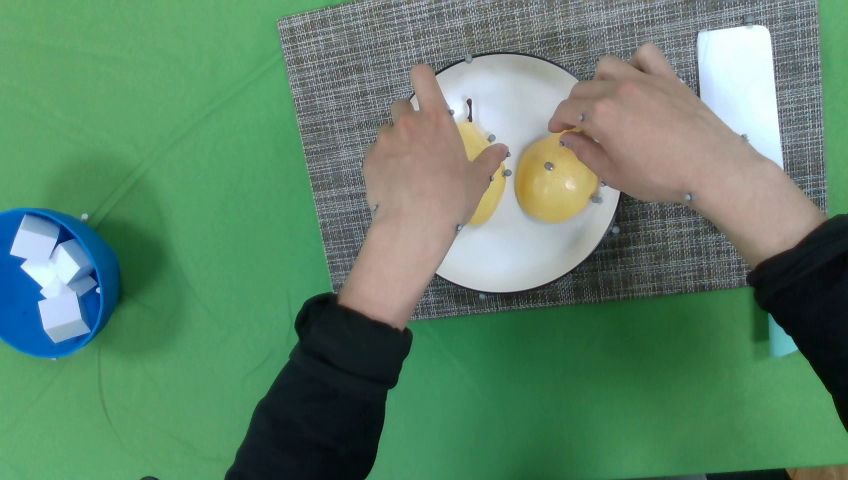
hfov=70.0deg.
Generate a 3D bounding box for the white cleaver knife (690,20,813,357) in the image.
[{"bbox_3d":[0.276,-0.039,0.512,0.065,0.021,0.287,-11,96,18],"label":"white cleaver knife"}]

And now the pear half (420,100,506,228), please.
[{"bbox_3d":[0.033,-0.065,0.524,0.076,0.056,0.110,1,102,6],"label":"pear half"}]

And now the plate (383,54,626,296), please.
[{"bbox_3d":[0.069,-0.055,0.534,0.207,0.039,0.208,2,102,10],"label":"plate"}]

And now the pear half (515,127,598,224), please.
[{"bbox_3d":[0.115,-0.053,0.521,0.070,0.031,0.088,24,114,1],"label":"pear half"}]

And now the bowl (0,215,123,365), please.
[{"bbox_3d":[-0.366,0.043,0.618,0.151,0.076,0.152,2,102,10],"label":"bowl"}]
